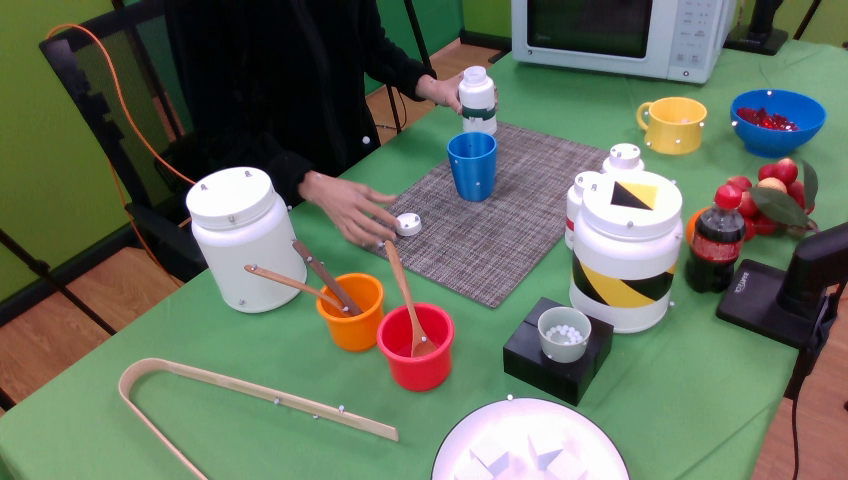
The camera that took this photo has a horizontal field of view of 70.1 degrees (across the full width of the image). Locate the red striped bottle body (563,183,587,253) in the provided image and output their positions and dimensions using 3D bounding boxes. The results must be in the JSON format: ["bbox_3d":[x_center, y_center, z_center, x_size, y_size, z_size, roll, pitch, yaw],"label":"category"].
[{"bbox_3d":[0.246,-0.041,0.910,0.063,0.120,0.062,-2,38,2],"label":"red striped bottle body"}]

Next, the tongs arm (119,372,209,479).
[{"bbox_3d":[-0.258,0.257,0.700,0.384,0.028,0.028,24,55,34],"label":"tongs arm"}]

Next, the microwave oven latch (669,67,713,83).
[{"bbox_3d":[0.556,-0.349,1.261,0.078,0.029,0.030,16,46,27],"label":"microwave oven latch"}]

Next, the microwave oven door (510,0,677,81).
[{"bbox_3d":[0.354,-0.478,1.291,0.353,0.245,0.039,15,45,25],"label":"microwave oven door"}]

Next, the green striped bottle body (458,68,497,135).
[{"bbox_3d":[0.096,-0.247,1.087,0.063,0.120,0.063,-6,41,6],"label":"green striped bottle body"}]

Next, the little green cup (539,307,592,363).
[{"bbox_3d":[0.168,0.115,0.721,0.061,0.039,0.061,-4,42,4],"label":"little green cup"}]

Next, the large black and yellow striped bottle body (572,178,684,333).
[{"bbox_3d":[0.262,0.017,0.788,0.131,0.185,0.130,-5,40,4],"label":"large black and yellow striped bottle body"}]

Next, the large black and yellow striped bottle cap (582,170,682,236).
[{"bbox_3d":[0.252,-0.048,0.735,0.115,0.019,0.114,-3,40,3],"label":"large black and yellow striped bottle cap"}]

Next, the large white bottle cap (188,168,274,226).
[{"bbox_3d":[-0.265,-0.061,0.831,0.115,0.018,0.114,-4,40,4],"label":"large white bottle cap"}]

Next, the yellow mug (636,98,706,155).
[{"bbox_3d":[0.453,-0.217,1.129,0.100,0.064,0.129,-34,46,-27],"label":"yellow mug"}]

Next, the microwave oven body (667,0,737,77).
[{"bbox_3d":[0.462,-0.552,1.368,0.439,0.261,0.326,14,45,26],"label":"microwave oven body"}]

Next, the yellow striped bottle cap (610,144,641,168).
[{"bbox_3d":[0.307,-0.128,0.923,0.044,0.019,0.044,-6,40,5],"label":"yellow striped bottle cap"}]

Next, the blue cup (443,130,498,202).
[{"bbox_3d":[0.086,-0.123,1.040,0.092,0.100,0.092,-5,42,5],"label":"blue cup"}]

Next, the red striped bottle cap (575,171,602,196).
[{"bbox_3d":[0.242,-0.082,0.876,0.044,0.018,0.044,-5,44,5],"label":"red striped bottle cap"}]

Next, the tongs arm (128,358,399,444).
[{"bbox_3d":[-0.213,0.205,0.755,0.382,0.026,0.051,12,46,23],"label":"tongs arm"}]

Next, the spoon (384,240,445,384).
[{"bbox_3d":[-0.016,0.090,0.776,0.042,0.021,0.193,-17,85,-11],"label":"spoon"}]

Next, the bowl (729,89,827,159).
[{"bbox_3d":[0.615,-0.197,1.069,0.151,0.077,0.150,-5,40,5],"label":"bowl"}]

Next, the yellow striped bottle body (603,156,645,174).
[{"bbox_3d":[0.313,-0.089,0.955,0.063,0.121,0.062,-5,39,4],"label":"yellow striped bottle body"}]

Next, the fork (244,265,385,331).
[{"bbox_3d":[-0.142,0.078,0.807,0.209,0.018,0.028,30,32,-24],"label":"fork"}]

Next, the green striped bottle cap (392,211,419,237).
[{"bbox_3d":[-0.030,-0.028,1.008,0.044,0.020,0.044,3,52,-4],"label":"green striped bottle cap"}]

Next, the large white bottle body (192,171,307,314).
[{"bbox_3d":[-0.256,0.003,0.885,0.130,0.185,0.130,-4,40,4],"label":"large white bottle body"}]

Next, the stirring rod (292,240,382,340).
[{"bbox_3d":[-0.119,0.068,0.826,0.176,0.006,0.014,49,58,-4],"label":"stirring rod"}]

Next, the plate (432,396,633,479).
[{"bbox_3d":[0.112,0.261,0.634,0.209,0.038,0.208,-5,40,4],"label":"plate"}]
